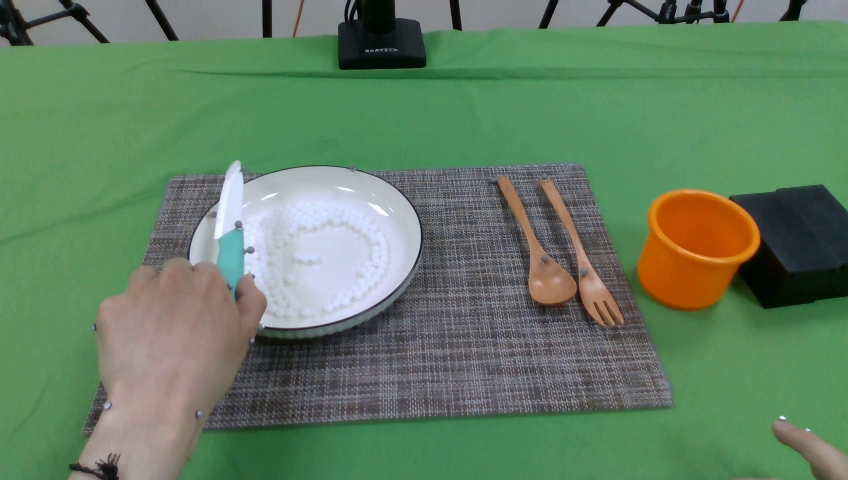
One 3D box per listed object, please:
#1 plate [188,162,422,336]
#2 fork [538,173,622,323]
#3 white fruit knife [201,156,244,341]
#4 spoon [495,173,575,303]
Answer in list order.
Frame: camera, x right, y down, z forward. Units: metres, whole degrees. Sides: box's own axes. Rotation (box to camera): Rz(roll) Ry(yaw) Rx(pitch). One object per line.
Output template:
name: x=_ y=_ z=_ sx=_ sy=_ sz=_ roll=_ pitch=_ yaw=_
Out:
plate: x=-0.105 y=0.006 z=0.558 sx=0.209 sy=0.038 sz=0.207 roll=1 pitch=46 yaw=0
fork: x=0.143 y=0.000 z=0.583 sx=0.028 sy=0.019 sz=0.205 roll=-10 pitch=48 yaw=-2
white fruit knife: x=-0.162 y=-0.005 z=0.504 sx=0.027 sy=0.016 sz=0.205 roll=-9 pitch=48 yaw=-3
spoon: x=0.100 y=-0.010 z=0.588 sx=0.041 sy=0.022 sz=0.191 roll=-19 pitch=47 yaw=5
